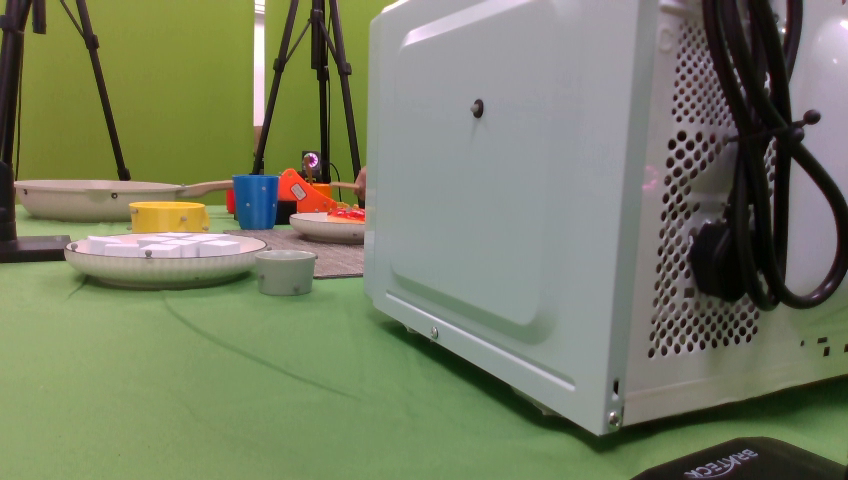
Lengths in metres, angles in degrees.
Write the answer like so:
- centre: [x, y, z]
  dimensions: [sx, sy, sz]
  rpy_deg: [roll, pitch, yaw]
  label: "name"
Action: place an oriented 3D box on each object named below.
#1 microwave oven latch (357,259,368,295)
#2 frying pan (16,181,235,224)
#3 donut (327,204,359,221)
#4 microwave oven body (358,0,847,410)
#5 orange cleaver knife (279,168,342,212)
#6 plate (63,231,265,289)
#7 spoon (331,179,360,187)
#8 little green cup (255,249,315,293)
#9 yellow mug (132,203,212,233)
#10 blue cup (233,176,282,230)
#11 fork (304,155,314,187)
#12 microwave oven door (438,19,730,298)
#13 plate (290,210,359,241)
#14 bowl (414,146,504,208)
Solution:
- centre: [-0.019, 0.031, 0.529]
  dimensions: [0.079, 0.029, 0.030]
  rpy_deg: [-1, 7, -27]
  label: "microwave oven latch"
- centre: [-0.554, -0.097, 1.266]
  dimensions: [0.490, 0.102, 0.305]
  rpy_deg: [-10, 13, -24]
  label: "frying pan"
- centre: [-0.120, -0.037, 1.056]
  dimensions: [0.099, 0.048, 0.099]
  rpy_deg: [5, 7, 0]
  label: "donut"
- centre: [0.210, -0.051, 0.471]
  dimensions: [0.444, 0.260, 0.324]
  rpy_deg: [-1, 7, -28]
  label: "microwave oven body"
- centre: [-0.237, -0.084, 1.333]
  dimensions: [0.212, 0.077, 0.012]
  rpy_deg: [31, -9, -31]
  label: "orange cleaver knife"
- centre: [-0.288, 0.021, 0.687]
  dimensions: [0.208, 0.039, 0.207]
  rpy_deg: [2, 8, 0]
  label: "plate"
- centre: [-0.104, -0.105, 1.230]
  dimensions: [0.193, 0.021, 0.042]
  rpy_deg: [16, 39, 17]
  label: "spoon"
- centre: [-0.144, 0.031, 0.627]
  dimensions: [0.061, 0.038, 0.061]
  rpy_deg: [2, 6, 0]
  label: "little green cup"
- centre: [-0.356, -0.020, 0.878]
  dimensions: [0.099, 0.064, 0.131]
  rpy_deg: [4, 7, 22]
  label: "yellow mug"
- centre: [-0.314, -0.071, 1.141]
  dimensions: [0.093, 0.100, 0.092]
  rpy_deg: [0, 7, 0]
  label: "blue cup"
- centre: [-0.268, -0.134, 1.446]
  dimensions: [0.028, 0.018, 0.207]
  rpy_deg: [2, -36, -1]
  label: "fork"
- centre: [0.181, -0.076, 0.618]
  dimensions: [0.358, 0.243, 0.039]
  rpy_deg: [-2, 8, -28]
  label: "microwave oven door"
- centre: [-0.127, -0.026, 1.051]
  dimensions: [0.209, 0.038, 0.209]
  rpy_deg: [2, 7, 0]
  label: "plate"
- centre: [0.062, -0.097, 0.995]
  dimensions: [0.151, 0.076, 0.151]
  rpy_deg: [-8, -5, 0]
  label: "bowl"
